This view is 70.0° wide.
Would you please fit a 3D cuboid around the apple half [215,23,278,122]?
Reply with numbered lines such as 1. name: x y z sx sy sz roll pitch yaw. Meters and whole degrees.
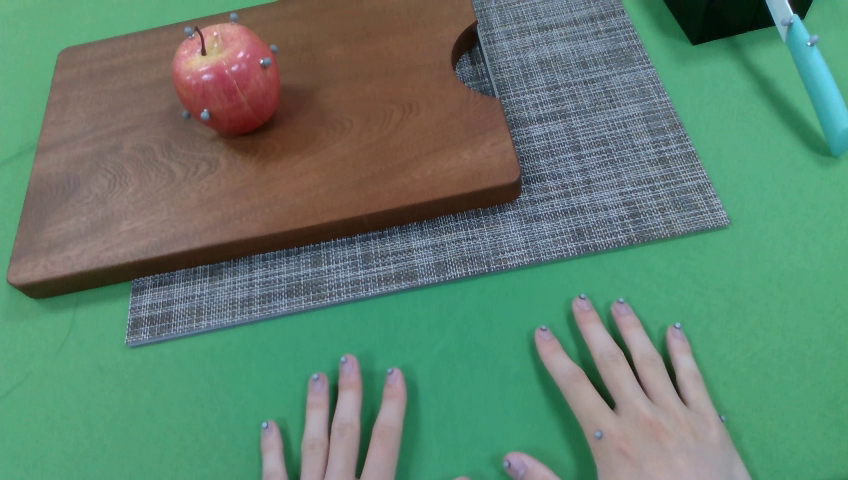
1. apple half: -0.135 -0.137 0.487 0.033 0.082 0.080 -23 59 0

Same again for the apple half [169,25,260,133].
1. apple half: -0.171 -0.123 0.485 0.053 0.075 0.080 -22 63 0

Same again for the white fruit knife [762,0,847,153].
1. white fruit knife: 0.285 -0.165 0.474 0.016 0.027 0.206 -14 73 0
